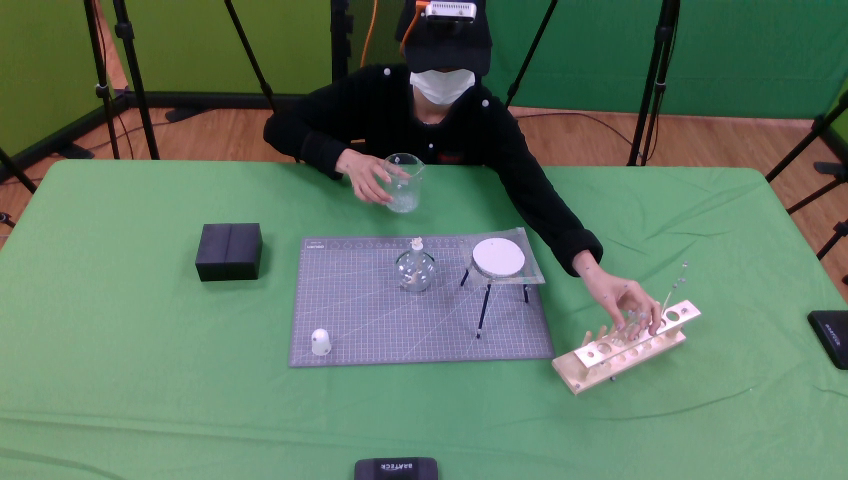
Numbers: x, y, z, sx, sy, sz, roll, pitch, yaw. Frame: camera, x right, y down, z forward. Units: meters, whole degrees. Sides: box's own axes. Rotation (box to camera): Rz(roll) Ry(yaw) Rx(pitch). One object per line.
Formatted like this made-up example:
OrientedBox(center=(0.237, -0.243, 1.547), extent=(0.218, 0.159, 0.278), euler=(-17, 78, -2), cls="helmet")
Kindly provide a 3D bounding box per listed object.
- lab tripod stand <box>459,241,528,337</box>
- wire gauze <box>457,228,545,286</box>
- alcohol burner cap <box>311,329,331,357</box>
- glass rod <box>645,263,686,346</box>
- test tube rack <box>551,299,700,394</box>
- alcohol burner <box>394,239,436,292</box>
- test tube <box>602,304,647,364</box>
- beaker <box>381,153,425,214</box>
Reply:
OrientedBox(center=(0.122, 0.075, 1.054), extent=(0.148, 0.132, 0.147), euler=(3, 44, -3), cls="lab tripod stand")
OrientedBox(center=(0.126, 0.029, 1.006), extent=(0.125, 0.011, 0.120), euler=(-4, 46, -10), cls="wire gauze")
OrientedBox(center=(-0.173, 0.168, 1.004), extent=(0.034, 0.048, 0.033), euler=(2, 46, -2), cls="alcohol burner cap")
OrientedBox(center=(0.392, 0.110, 0.986), extent=(0.008, 0.200, 0.008), euler=(2, 42, -1), cls="glass rod")
OrientedBox(center=(0.339, 0.166, 1.021), extent=(0.242, 0.085, 0.066), euler=(-19, 50, -21), cls="test tube rack")
OrientedBox(center=(-0.016, 0.038, 1.093), extent=(0.078, 0.119, 0.077), euler=(2, 48, -2), cls="alcohol burner")
OrientedBox(center=(0.312, 0.151, 0.951), extent=(0.017, 0.151, 0.017), euler=(7, 46, -7), cls="test tube")
OrientedBox(center=(-0.042, -0.107, 1.175), extent=(0.084, 0.101, 0.073), euler=(-6, 48, -9), cls="beaker")
